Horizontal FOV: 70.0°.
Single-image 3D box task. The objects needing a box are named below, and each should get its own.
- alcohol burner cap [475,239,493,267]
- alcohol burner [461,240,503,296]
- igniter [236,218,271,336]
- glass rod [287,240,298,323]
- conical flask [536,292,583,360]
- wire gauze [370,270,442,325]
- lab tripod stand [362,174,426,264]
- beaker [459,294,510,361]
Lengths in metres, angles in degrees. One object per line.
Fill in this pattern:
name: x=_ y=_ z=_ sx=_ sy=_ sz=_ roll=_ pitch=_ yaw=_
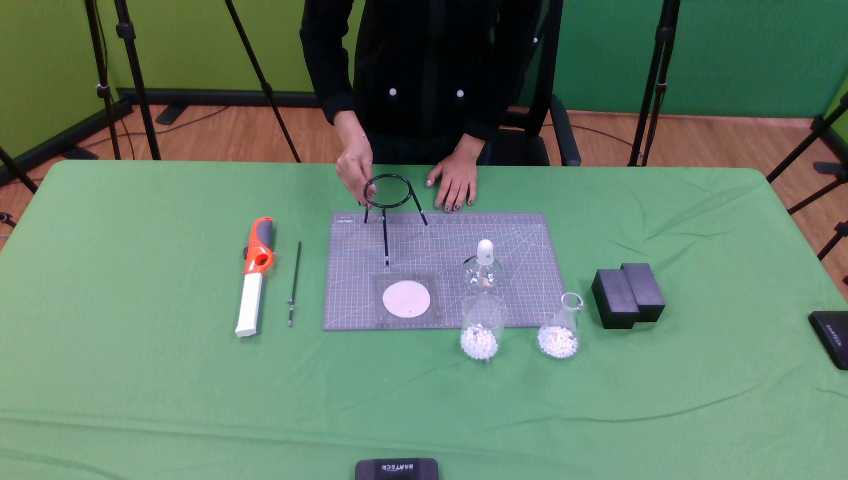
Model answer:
alcohol burner cap: x=0.107 y=0.020 z=1.071 sx=0.034 sy=0.048 sz=0.033 roll=-2 pitch=46 yaw=2
alcohol burner: x=0.107 y=0.045 z=1.098 sx=0.078 sy=0.120 sz=0.077 roll=2 pitch=44 yaw=-1
igniter: x=-0.312 y=0.058 z=1.115 sx=0.057 sy=0.025 sz=0.274 roll=-9 pitch=46 yaw=2
glass rod: x=-0.242 y=0.072 z=1.119 sx=0.008 sy=0.008 sz=0.198 roll=-1 pitch=47 yaw=-5
conical flask: x=0.234 y=0.139 z=1.015 sx=0.075 sy=0.122 sz=0.075 roll=2 pitch=46 yaw=-2
wire gauze: x=-0.035 y=0.104 z=1.103 sx=0.125 sy=0.011 sz=0.120 roll=-3 pitch=46 yaw=-5
lab tripod stand: x=-0.064 y=-0.051 z=1.153 sx=0.148 sy=0.132 sz=0.147 roll=-1 pitch=47 yaw=1
beaker: x=0.095 y=0.147 z=1.012 sx=0.083 sy=0.101 sz=0.074 roll=26 pitch=49 yaw=21
